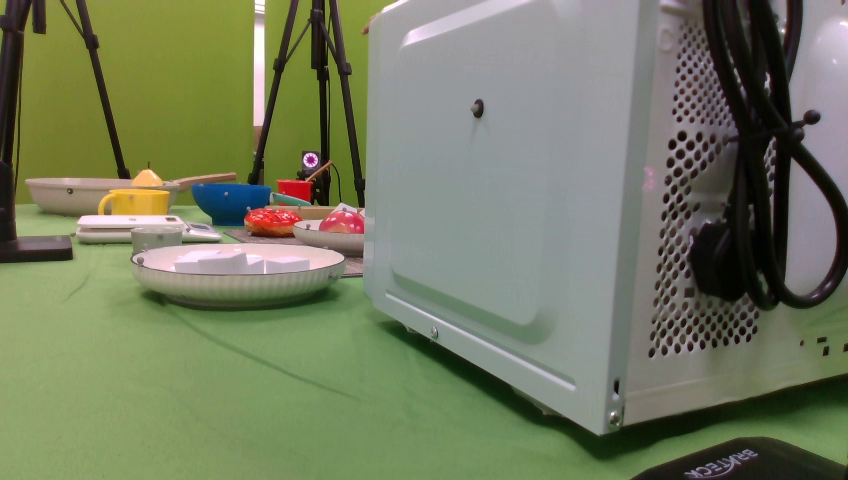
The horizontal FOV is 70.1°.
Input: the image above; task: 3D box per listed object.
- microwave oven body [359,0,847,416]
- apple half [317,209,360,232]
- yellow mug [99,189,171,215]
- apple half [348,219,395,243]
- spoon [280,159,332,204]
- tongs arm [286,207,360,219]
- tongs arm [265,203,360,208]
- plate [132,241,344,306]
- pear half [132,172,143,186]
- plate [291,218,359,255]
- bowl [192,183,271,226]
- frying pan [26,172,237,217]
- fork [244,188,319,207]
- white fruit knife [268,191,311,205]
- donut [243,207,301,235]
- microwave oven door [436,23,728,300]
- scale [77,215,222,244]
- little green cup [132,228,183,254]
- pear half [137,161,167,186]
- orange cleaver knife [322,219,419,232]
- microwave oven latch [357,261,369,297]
[{"bbox_3d":[0.211,-0.047,0.474,0.444,0.260,0.324,-1,7,-28],"label":"microwave oven body"},{"bbox_3d":[-0.121,-0.020,0.900,0.080,0.053,0.075,4,11,14],"label":"apple half"},{"bbox_3d":[-0.518,-0.055,1.080,0.099,0.064,0.131,7,9,26],"label":"yellow mug"},{"bbox_3d":[-0.083,-0.018,0.967,0.081,0.033,0.081,5,10,-1],"label":"apple half"},{"bbox_3d":[-0.316,-0.158,1.640,0.194,0.022,0.041,-50,32,-20],"label":"spoon"},{"bbox_3d":[-0.173,-0.060,1.363,0.387,0.026,0.050,-1,4,-31],"label":"tongs arm"},{"bbox_3d":[-0.209,-0.069,1.438,0.389,0.027,0.028,1,0,-17],"label":"tongs arm"},{"bbox_3d":[-0.187,0.033,0.625,0.208,0.039,0.207,2,7,0],"label":"plate"},{"bbox_3d":[-0.638,-0.113,1.361,0.031,0.088,0.070,5,11,4],"label":"pear half"},{"bbox_3d":[-0.098,-0.007,0.928,0.209,0.038,0.209,2,8,0],"label":"plate"},{"bbox_3d":[-0.382,-0.071,1.202,0.151,0.077,0.151,3,7,0],"label":"bowl"},{"bbox_3d":[-0.624,-0.118,1.387,0.305,0.102,0.490,8,17,32],"label":"frying pan"},{"bbox_3d":[-0.356,-0.105,1.526,0.208,0.018,0.028,16,-5,-41],"label":"fork"},{"bbox_3d":[-0.364,-0.105,1.463,0.208,0.027,0.016,15,-2,-34],"label":"white fruit knife"},{"bbox_3d":[-0.261,-0.032,1.043,0.099,0.048,0.099,4,9,0],"label":"donut"},{"bbox_3d":[0.180,-0.072,0.621,0.358,0.243,0.039,-2,9,-29],"label":"microwave oven door"},{"bbox_3d":[-0.434,-0.019,0.963,0.202,0.031,0.148,-1,9,-27],"label":"scale"},{"bbox_3d":[-0.342,0.006,0.779,0.061,0.038,0.061,2,8,0],"label":"little green cup"},{"bbox_3d":[-0.602,-0.120,1.354,0.056,0.110,0.076,4,11,6],"label":"pear half"},{"bbox_3d":[-0.097,-0.027,1.153,0.077,0.012,0.212,1,7,41],"label":"orange cleaver knife"},{"bbox_3d":[-0.019,0.033,0.531,0.079,0.029,0.030,-1,7,-26],"label":"microwave oven latch"}]
